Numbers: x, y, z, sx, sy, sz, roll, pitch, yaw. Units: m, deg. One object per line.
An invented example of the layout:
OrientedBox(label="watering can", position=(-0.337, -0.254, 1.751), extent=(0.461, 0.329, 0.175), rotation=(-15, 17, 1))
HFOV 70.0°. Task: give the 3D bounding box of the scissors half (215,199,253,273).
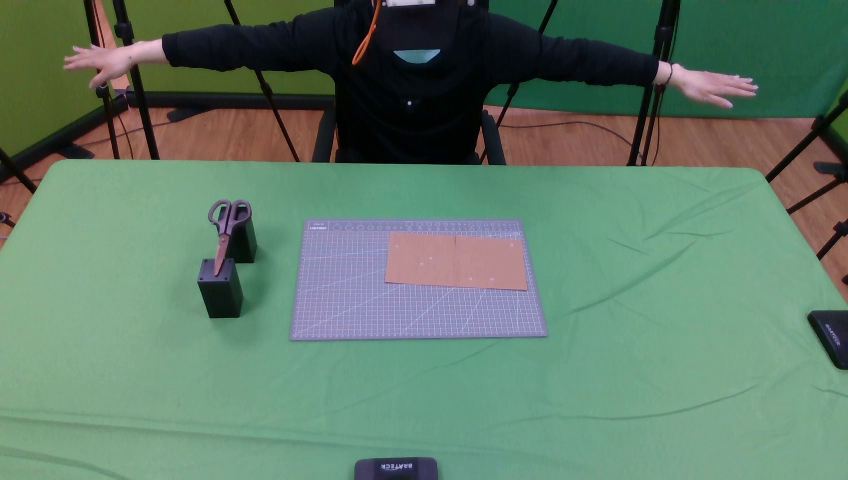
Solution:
OrientedBox(label="scissors half", position=(-0.332, -0.009, 1.049), extent=(0.040, 0.013, 0.174), rotation=(7, 48, 1))

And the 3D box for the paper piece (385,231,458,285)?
OrientedBox(label="paper piece", position=(-0.002, 0.031, 1.169), extent=(0.136, 0.004, 0.134), rotation=(3, 47, 0))

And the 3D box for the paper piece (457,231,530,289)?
OrientedBox(label="paper piece", position=(0.132, 0.038, 1.171), extent=(0.138, 0.009, 0.135), rotation=(4, 50, -1))

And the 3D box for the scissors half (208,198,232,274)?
OrientedBox(label="scissors half", position=(-0.352, -0.009, 1.046), extent=(0.040, 0.013, 0.174), rotation=(-3, 49, -15))
